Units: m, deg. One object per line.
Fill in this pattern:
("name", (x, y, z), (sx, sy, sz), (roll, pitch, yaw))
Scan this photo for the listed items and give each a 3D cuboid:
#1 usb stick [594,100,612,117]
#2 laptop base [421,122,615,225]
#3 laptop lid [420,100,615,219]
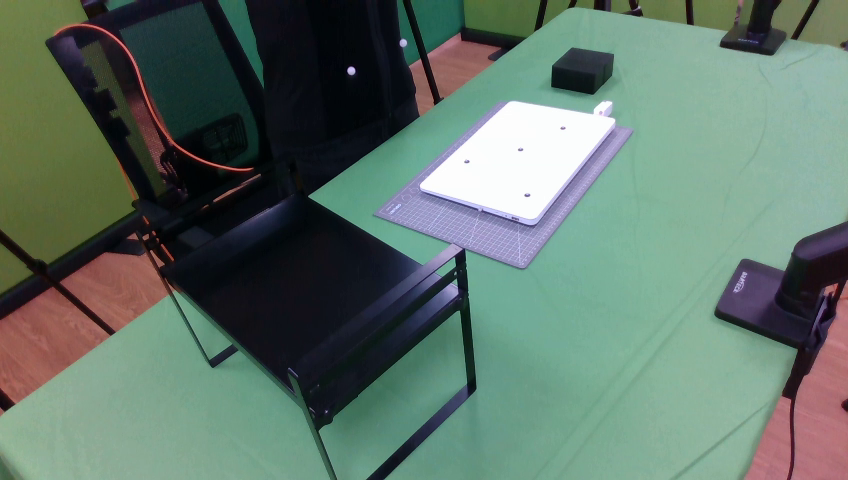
("usb stick", (0.353, -0.254, 1.204), (0.021, 0.027, 0.059), (20, 47, 30))
("laptop base", (0.184, -0.156, 1.132), (0.234, 0.023, 0.355), (18, 46, 31))
("laptop lid", (0.180, -0.166, 1.125), (0.240, 0.013, 0.357), (20, 47, 31))
